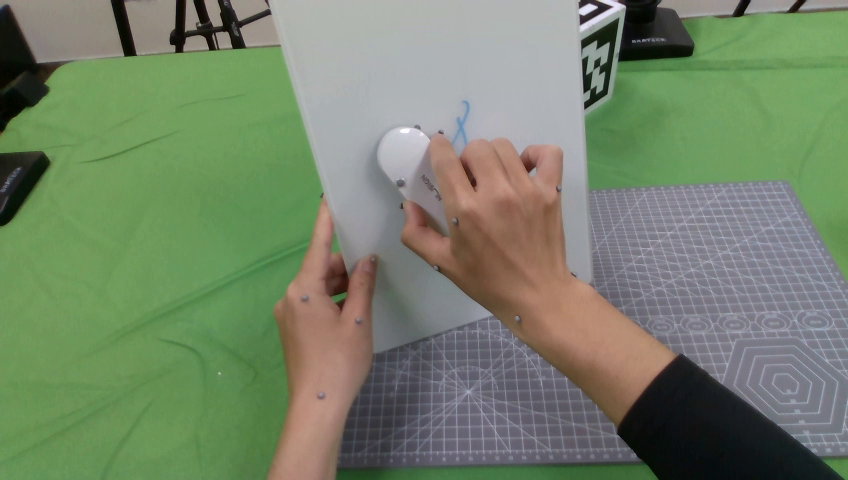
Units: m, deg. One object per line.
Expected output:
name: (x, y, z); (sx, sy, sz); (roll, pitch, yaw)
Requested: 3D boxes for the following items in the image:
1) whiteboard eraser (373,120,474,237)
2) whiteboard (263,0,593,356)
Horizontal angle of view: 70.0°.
whiteboard eraser: (0.001, -0.045, 0.456); (0.041, 0.102, 0.018); (-42, 24, -6)
whiteboard: (0.008, -0.091, 0.528); (0.217, 0.308, 0.142); (-17, 28, -9)
